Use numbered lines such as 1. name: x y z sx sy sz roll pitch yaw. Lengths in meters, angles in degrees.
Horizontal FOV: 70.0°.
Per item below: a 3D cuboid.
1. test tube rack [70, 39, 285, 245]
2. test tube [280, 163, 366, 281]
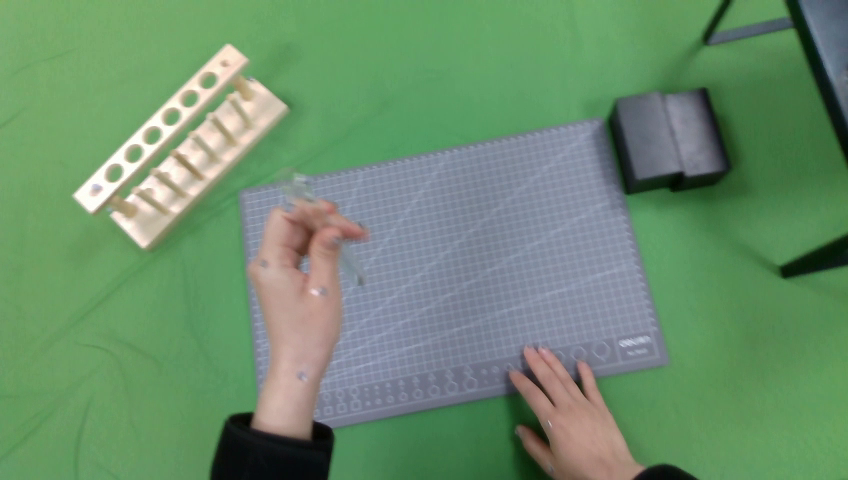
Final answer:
1. test tube rack: -0.284 -0.113 0.717 0.066 0.085 0.242 40 82 13
2. test tube: -0.068 -0.007 0.434 0.017 0.151 0.017 -5 61 9
